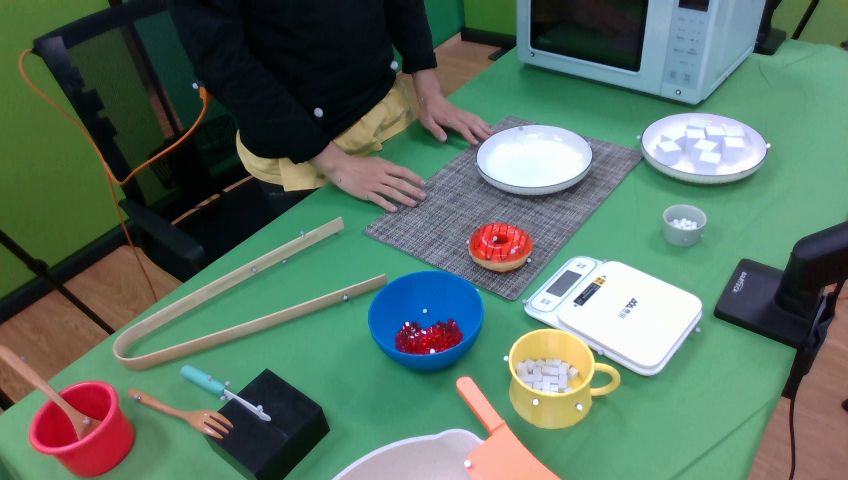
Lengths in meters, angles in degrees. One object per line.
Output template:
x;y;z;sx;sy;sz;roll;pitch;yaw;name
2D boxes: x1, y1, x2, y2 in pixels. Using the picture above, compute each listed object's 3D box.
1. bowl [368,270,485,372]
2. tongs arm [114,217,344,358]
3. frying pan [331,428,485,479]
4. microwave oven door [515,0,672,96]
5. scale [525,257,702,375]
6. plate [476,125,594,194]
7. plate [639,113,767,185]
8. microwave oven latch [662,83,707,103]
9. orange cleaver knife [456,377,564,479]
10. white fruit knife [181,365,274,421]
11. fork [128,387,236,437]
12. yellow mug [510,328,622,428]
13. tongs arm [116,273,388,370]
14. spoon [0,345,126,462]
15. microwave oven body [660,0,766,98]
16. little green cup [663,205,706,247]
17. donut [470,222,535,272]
0.007;0.118;0.791;0.151;0.077;0.150;-4;40;4;bowl
-0.280;0.067;0.926;0.386;0.026;0.050;-29;49;-23;tongs arm
-0.089;0.306;0.564;0.487;0.103;0.306;10;41;7;frying pan
0.343;-0.454;1.259;0.353;0.245;0.039;26;51;33;microwave oven door
0.254;0.091;0.821;0.199;0.032;0.149;28;51;35;scale
0.199;-0.142;1.093;0.209;0.038;0.208;-4;40;4;plate
0.489;-0.157;1.074;0.207;0.039;0.206;-4;40;4;plate
0.517;-0.296;1.204;0.078;0.029;0.030;27;52;35;microwave oven latch
0.081;0.220;0.611;0.077;0.012;0.209;-26;43;-22;orange cleaver knife
-0.245;0.187;0.747;0.205;0.027;0.016;9;41;40;white fruit knife
-0.305;0.207;0.744;0.206;0.019;0.028;3;41;36;fork
0.169;0.164;0.722;0.130;0.064;0.099;0;40;8;yellow mug
-0.236;0.115;0.870;0.389;0.028;0.028;-18;49;-13;tongs arm
-0.434;0.192;0.720;0.194;0.021;0.042;47;53;-7;spoon
0.472;-0.513;1.317;0.438;0.261;0.327;26;51;34;microwave oven body
0.396;-0.021;0.926;0.061;0.039;0.061;-4;40;4;little green cup
0.119;0.009;0.923;0.099;0.048;0.098;-4;38;3;donut
